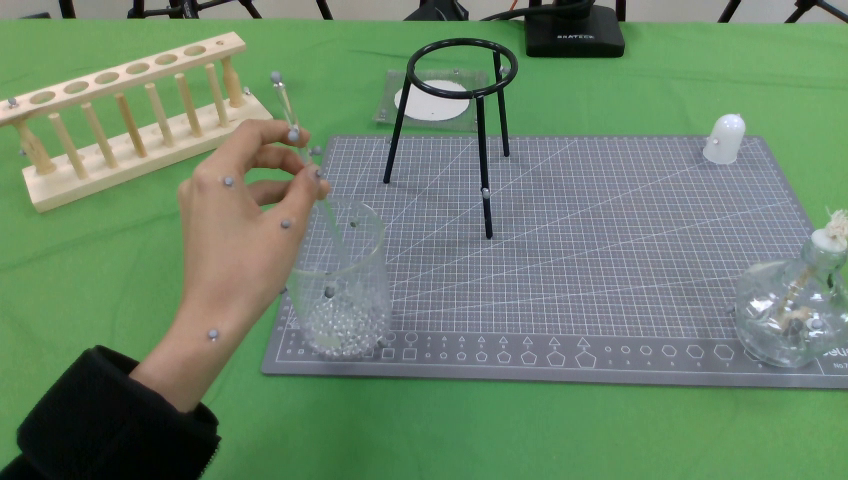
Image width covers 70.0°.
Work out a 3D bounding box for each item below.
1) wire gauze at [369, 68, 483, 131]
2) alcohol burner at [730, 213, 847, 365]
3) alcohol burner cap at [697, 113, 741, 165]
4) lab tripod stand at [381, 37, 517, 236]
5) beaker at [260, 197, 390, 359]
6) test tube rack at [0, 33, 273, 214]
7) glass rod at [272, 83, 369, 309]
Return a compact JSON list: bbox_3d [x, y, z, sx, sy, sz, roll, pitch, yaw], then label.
[{"bbox_3d":[0.005,-0.164,0.694,0.125,0.011,0.120,3,44,7],"label":"wire gauze"},{"bbox_3d":[0.255,0.030,0.408,0.078,0.120,0.077,-1,43,1],"label":"alcohol burner"},{"bbox_3d":[0.289,-0.101,0.589,0.034,0.048,0.033,-1,45,1],"label":"alcohol burner cap"},{"bbox_3d":[0.027,-0.095,0.530,0.148,0.133,0.147,-2,46,3],"label":"lab tripod stand"},{"bbox_3d":[-0.065,0.031,0.432,0.084,0.101,0.073,-1,45,3],"label":"beaker"},{"bbox_3d":[-0.285,-0.122,0.608,0.242,0.086,0.066,-26,50,-22],"label":"test tube rack"},{"bbox_3d":[-0.063,-0.016,0.403,0.008,0.202,0.008,-7,45,8],"label":"glass rod"}]
